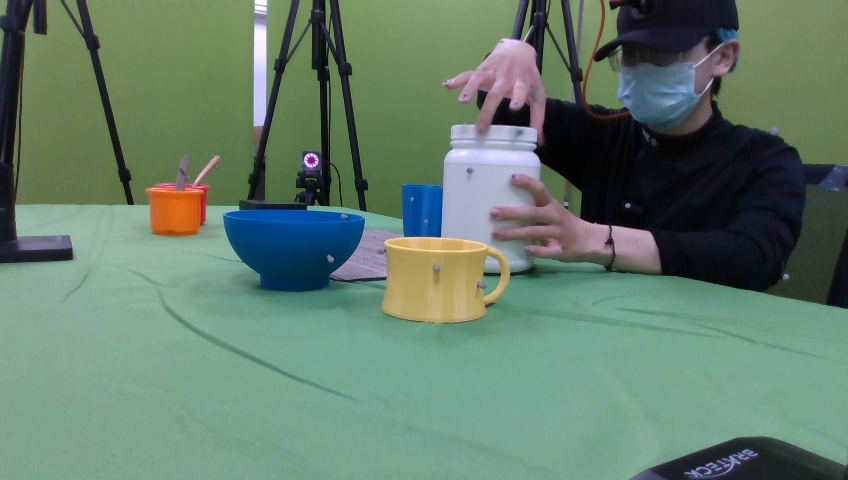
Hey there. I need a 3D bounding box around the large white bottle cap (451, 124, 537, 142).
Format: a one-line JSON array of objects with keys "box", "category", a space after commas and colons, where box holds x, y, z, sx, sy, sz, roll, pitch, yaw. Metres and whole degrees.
[{"box": [0.093, -0.141, 0.801, 0.115, 0.018, 0.115, 3, 8, 0], "category": "large white bottle cap"}]

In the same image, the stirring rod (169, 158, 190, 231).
[{"box": [-0.427, -0.082, 1.059, 0.014, 0.006, 0.175, 2, 50, -13], "category": "stirring rod"}]

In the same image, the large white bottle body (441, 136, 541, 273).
[{"box": [0.088, -0.057, 0.811, 0.131, 0.184, 0.130, 2, 7, 0], "category": "large white bottle body"}]

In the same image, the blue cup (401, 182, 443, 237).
[{"box": [0.002, -0.038, 0.966, 0.093, 0.100, 0.092, 4, 9, 0], "category": "blue cup"}]

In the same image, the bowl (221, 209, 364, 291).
[{"box": [-0.142, 0.011, 0.660, 0.151, 0.077, 0.151, 2, 7, 0], "category": "bowl"}]

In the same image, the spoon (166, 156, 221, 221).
[{"box": [-0.447, -0.104, 1.191, 0.041, 0.022, 0.193, 7, 52, 14], "category": "spoon"}]

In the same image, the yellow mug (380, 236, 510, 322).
[{"box": [0.024, 0.034, 0.575, 0.131, 0.064, 0.099, 0, 7, -22], "category": "yellow mug"}]
